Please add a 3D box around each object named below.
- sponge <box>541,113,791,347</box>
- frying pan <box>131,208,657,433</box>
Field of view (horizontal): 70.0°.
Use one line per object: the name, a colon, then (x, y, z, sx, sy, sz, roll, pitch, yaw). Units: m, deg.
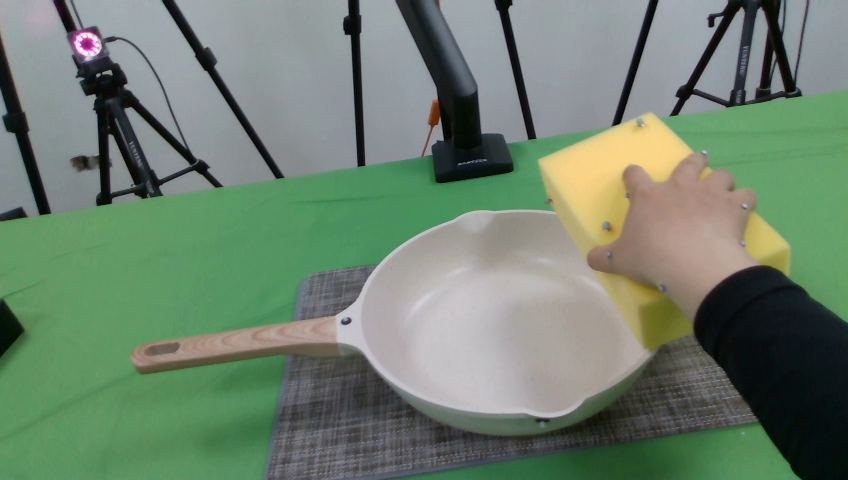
sponge: (0.197, -0.019, 0.529, 0.118, 0.061, 0.204, -23, 40, 3)
frying pan: (-0.022, 0.080, 0.580, 0.489, 0.103, 0.303, -5, 33, -7)
